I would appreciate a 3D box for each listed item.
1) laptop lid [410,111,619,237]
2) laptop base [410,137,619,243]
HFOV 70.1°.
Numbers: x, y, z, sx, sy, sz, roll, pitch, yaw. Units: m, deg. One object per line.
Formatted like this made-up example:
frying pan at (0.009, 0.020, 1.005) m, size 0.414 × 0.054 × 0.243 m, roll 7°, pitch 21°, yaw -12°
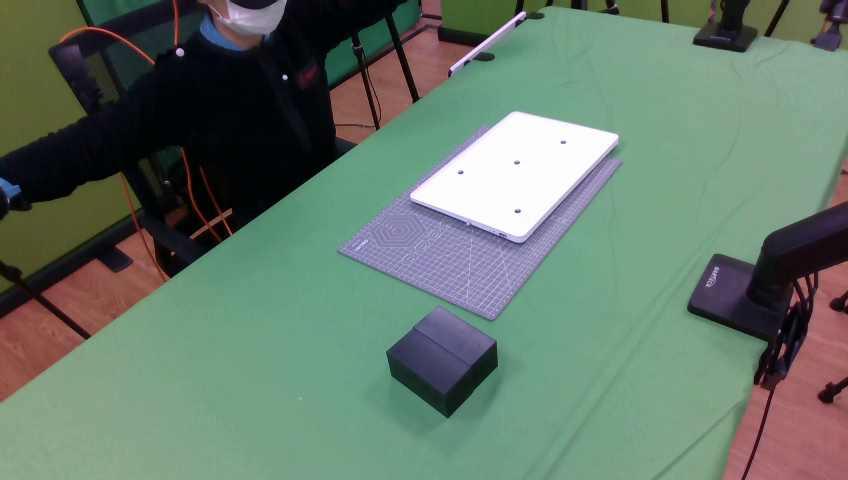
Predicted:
laptop lid at (0.168, -0.136, 1.089) m, size 0.239 × 0.013 × 0.358 m, roll 23°, pitch 48°, yaw 34°
laptop base at (0.171, -0.126, 1.096) m, size 0.233 × 0.023 × 0.355 m, roll 21°, pitch 47°, yaw 33°
